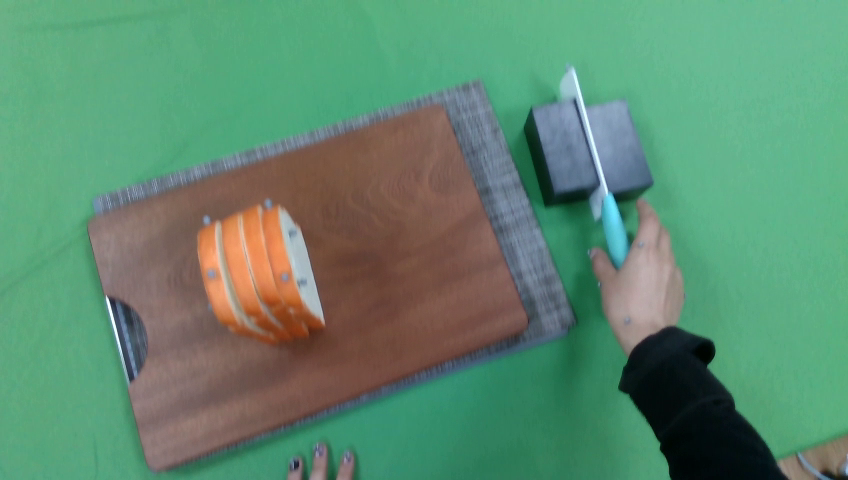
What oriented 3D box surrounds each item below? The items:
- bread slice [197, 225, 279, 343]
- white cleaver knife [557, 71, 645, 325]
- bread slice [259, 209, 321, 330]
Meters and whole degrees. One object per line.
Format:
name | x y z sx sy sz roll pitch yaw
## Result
bread slice | -0.173 0.041 0.563 0.019 0.132 0.104 -18 75 0
white cleaver knife | 0.188 -0.049 0.657 0.021 0.066 0.285 -12 78 2
bread slice | -0.124 0.030 0.564 0.018 0.134 0.106 -17 81 -6
